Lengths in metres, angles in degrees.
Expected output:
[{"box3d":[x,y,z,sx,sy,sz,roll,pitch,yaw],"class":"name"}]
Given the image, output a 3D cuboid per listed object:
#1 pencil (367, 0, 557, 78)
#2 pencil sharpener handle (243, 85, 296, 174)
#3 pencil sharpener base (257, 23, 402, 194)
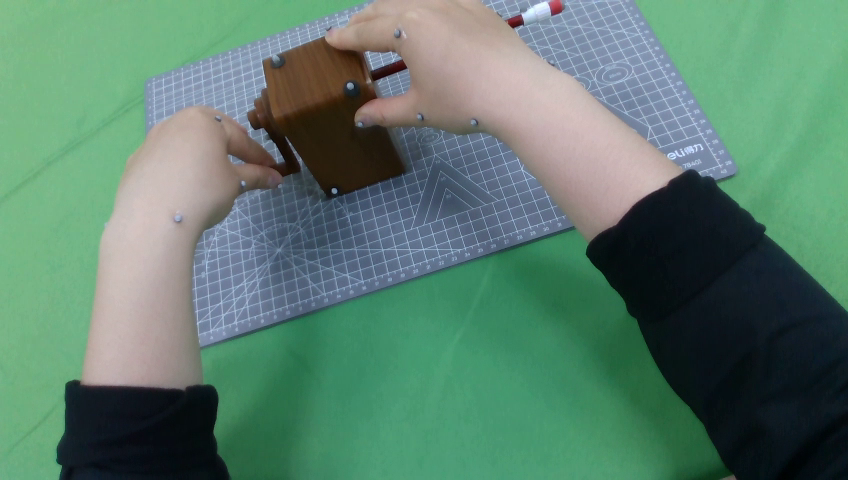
[{"box3d":[0.001,-0.132,0.425,0.194,0.012,0.012,-20,61,3],"class":"pencil"},{"box3d":[-0.118,-0.077,0.442,0.030,0.068,0.035,-21,46,2],"class":"pencil sharpener handle"},{"box3d":[-0.069,-0.093,0.453,0.077,0.108,0.061,-21,60,2],"class":"pencil sharpener base"}]
